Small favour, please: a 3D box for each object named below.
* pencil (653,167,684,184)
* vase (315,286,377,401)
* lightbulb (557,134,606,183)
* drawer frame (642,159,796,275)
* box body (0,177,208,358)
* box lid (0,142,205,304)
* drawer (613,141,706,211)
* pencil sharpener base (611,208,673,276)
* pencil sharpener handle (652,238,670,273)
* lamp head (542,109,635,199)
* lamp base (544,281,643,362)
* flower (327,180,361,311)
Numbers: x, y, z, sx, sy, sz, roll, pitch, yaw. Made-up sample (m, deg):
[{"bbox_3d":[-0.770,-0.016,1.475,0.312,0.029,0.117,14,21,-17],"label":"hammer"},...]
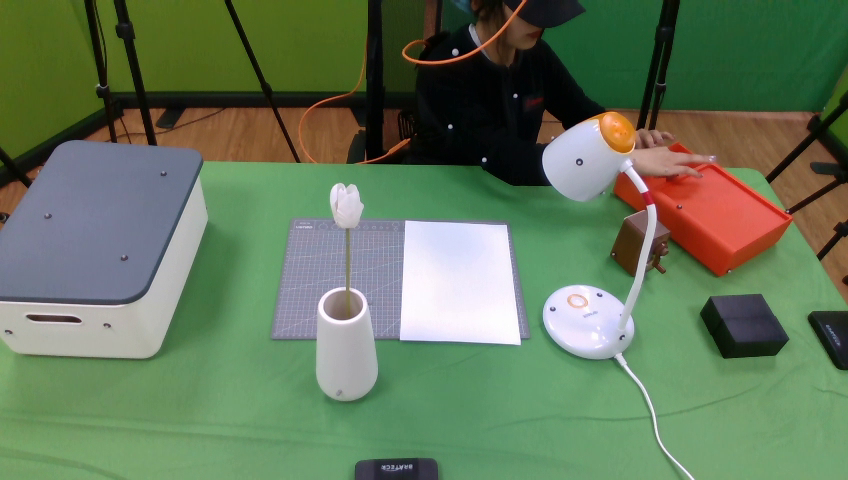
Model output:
[{"bbox_3d":[0.528,-0.139,1.309,0.012,0.012,0.194,35,34,27],"label":"pencil"},{"bbox_3d":[-0.119,0.159,0.911,0.098,0.201,0.097,2,47,-2],"label":"vase"},{"bbox_3d":[0.242,-0.127,0.916,0.059,0.108,0.059,5,67,-12],"label":"lightbulb"},{"bbox_3d":[0.600,-0.054,1.247,0.202,0.083,0.212,-23,52,-25],"label":"drawer frame"},{"bbox_3d":[-0.546,0.017,1.045,0.254,0.161,0.361,2,46,-2],"label":"box body"},{"bbox_3d":[-0.534,-0.044,0.995,0.263,0.015,0.369,3,45,-3],"label":"box lid"},{"bbox_3d":[0.551,-0.105,1.296,0.194,0.073,0.210,-23,52,-25],"label":"drawer"},{"bbox_3d":[0.416,0.007,1.158,0.061,0.107,0.076,-20,51,-22],"label":"pencil sharpener base"},{"bbox_3d":[0.443,0.030,1.120,0.036,0.068,0.030,-24,52,-17],"label":"pencil sharpener handle"},{"bbox_3d":[0.253,-0.131,0.893,0.113,0.123,0.112,10,66,-24],"label":"lamp head"},{"bbox_3d":[0.303,0.095,1.014,0.161,0.181,0.178,-24,54,-24],"label":"lamp base"},{"bbox_3d":[-0.110,0.086,0.867,0.044,0.363,0.038,22,33,35],"label":"flower"}]
